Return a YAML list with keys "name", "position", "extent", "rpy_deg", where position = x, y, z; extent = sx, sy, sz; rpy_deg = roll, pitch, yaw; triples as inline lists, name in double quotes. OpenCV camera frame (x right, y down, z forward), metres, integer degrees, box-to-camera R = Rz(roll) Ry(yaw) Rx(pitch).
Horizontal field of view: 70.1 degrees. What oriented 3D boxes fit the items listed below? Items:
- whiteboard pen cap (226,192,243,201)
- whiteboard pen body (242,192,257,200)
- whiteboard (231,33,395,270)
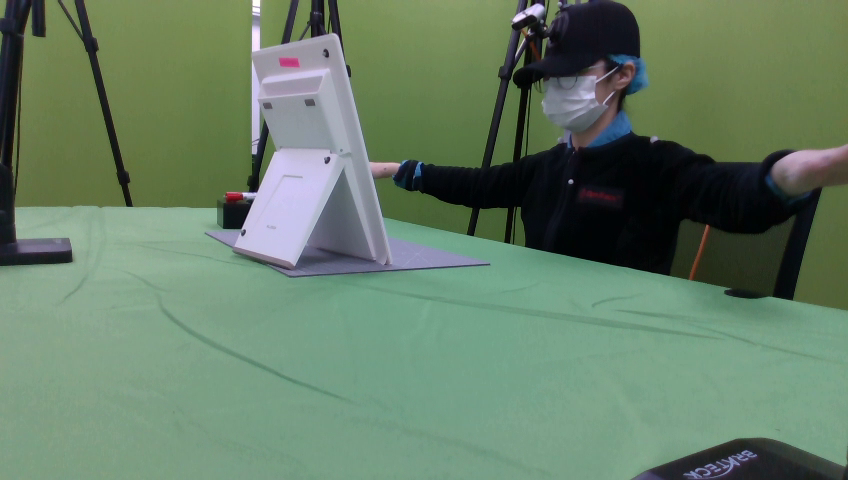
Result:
- name: "whiteboard pen cap"
  position: [-0.379, -0.088, 1.215]
  extent: [0.032, 0.017, 0.017]
  rpy_deg: [-6, 11, -38]
- name: "whiteboard pen body"
  position: [-0.331, -0.091, 1.248]
  extent: [0.141, 0.017, 0.017]
  rpy_deg: [-4, 9, -35]
- name: "whiteboard"
  position: [-0.193, -0.094, 0.805]
  extent: [0.144, 0.305, 0.216]
  rpy_deg: [-28, 25, -35]
